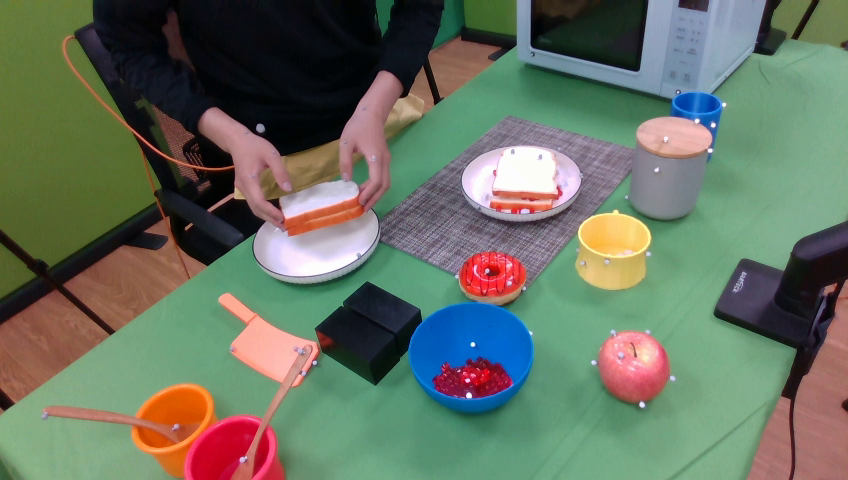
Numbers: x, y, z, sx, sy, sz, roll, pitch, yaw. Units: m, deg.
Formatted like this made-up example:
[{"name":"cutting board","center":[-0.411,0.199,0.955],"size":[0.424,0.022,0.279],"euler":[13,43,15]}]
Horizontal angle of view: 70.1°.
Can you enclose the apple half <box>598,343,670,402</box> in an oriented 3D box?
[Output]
[{"name":"apple half","center":[0.247,0.161,0.710],"size":[0.081,0.075,0.053],"euler":[2,47,5]}]

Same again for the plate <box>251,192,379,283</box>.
[{"name":"plate","center":[-0.173,-0.001,0.984],"size":[0.209,0.038,0.208],"euler":[-4,41,4]}]

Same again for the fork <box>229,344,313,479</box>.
[{"name":"fork","center":[-0.173,0.205,0.662],"size":[0.028,0.019,0.207],"euler":[29,94,36]}]

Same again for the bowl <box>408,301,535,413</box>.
[{"name":"bowl","center":[0.060,0.156,0.739],"size":[0.151,0.077,0.150],"euler":[-4,40,4]}]

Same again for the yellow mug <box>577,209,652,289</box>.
[{"name":"yellow mug","center":[0.279,0.004,0.893],"size":[0.099,0.064,0.130],"euler":[5,41,15]}]

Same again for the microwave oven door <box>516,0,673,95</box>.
[{"name":"microwave oven door","center":[0.344,-0.458,1.256],"size":[0.353,0.245,0.039],"euler":[26,51,33]}]

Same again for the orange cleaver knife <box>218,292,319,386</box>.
[{"name":"orange cleaver knife","center":[-0.235,0.136,0.850],"size":[0.209,0.012,0.077],"euler":[25,57,30]}]

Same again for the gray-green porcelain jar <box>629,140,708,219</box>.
[{"name":"gray-green porcelain jar","center":[0.383,-0.104,0.958],"size":[0.106,0.127,0.105],"euler":[-4,41,4]}]

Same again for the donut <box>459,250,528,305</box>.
[{"name":"donut","center":[0.100,0.053,0.873],"size":[0.099,0.048,0.098],"euler":[-5,40,4]}]

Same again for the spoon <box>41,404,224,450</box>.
[{"name":"spoon","center":[-0.321,0.206,0.681],"size":[0.021,0.195,0.041],"euler":[-48,36,23]}]

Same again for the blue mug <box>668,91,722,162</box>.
[{"name":"blue mug","center":[0.474,-0.207,1.079],"size":[0.082,0.106,0.116],"euler":[4,42,13]}]

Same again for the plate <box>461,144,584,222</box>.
[{"name":"plate","center":[0.168,-0.095,1.040],"size":[0.207,0.039,0.206],"euler":[-4,40,4]}]

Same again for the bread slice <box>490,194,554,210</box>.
[{"name":"bread slice","center":[0.173,-0.099,1.047],"size":[0.104,0.019,0.131],"euler":[2,43,12]}]

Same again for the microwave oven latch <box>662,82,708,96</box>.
[{"name":"microwave oven latch","center":[0.518,-0.298,1.203],"size":[0.078,0.029,0.030],"euler":[29,53,35]}]

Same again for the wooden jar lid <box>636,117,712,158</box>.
[{"name":"wooden jar lid","center":[0.377,-0.151,0.917],"size":[0.108,0.021,0.108],"euler":[-2,42,2]}]

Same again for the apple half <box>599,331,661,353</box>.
[{"name":"apple half","center":[0.249,0.134,0.738],"size":[0.081,0.081,0.032],"euler":[-1,46,7]}]

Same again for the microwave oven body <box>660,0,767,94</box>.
[{"name":"microwave oven body","center":[0.473,-0.517,1.313],"size":[0.438,0.261,0.327],"euler":[26,51,34]}]

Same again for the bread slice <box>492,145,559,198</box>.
[{"name":"bread slice","center":[0.172,-0.118,1.027],"size":[0.107,0.018,0.134],"euler":[3,43,7]}]
